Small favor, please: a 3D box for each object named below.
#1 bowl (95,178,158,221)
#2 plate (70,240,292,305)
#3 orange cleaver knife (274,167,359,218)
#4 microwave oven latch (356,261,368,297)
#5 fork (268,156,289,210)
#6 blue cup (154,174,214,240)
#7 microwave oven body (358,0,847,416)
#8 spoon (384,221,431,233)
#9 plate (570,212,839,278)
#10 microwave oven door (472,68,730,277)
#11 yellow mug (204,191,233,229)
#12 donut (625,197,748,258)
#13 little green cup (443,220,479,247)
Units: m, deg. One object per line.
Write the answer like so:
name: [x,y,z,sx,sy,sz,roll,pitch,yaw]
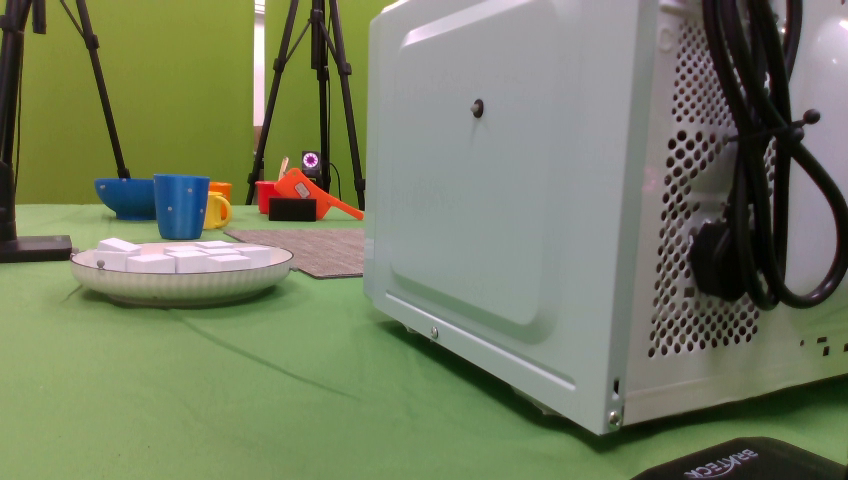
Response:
bowl: [-0.576,-0.081,1.217,0.151,0.077,0.151,3,8,0]
plate: [-0.242,0.031,0.618,0.208,0.039,0.207,2,8,0]
orange cleaver knife: [-0.238,-0.091,1.381,0.212,0.077,0.012,31,0,-19]
microwave oven latch: [-0.019,0.033,0.530,0.079,0.029,0.030,0,7,-26]
fork: [-0.360,-0.144,1.508,0.028,0.018,0.207,1,49,0]
blue cup: [-0.390,-0.053,0.978,0.093,0.100,0.092,3,6,0]
microwave oven body: [0.211,-0.047,0.474,0.444,0.260,0.324,-1,7,-28]
spoon: [-0.024,-0.029,1.188,0.041,0.021,0.194,-12,0,23]
plate: [0.230,0.001,0.519,0.209,0.038,0.209,2,7,0]
microwave oven door: [0.214,-0.096,0.820,0.039,0.243,0.354,-6,11,-44]
yellow mug: [-0.415,-0.057,1.132,0.130,0.064,0.100,6,8,16]
donut: [0.223,-0.010,0.518,0.099,0.048,0.099,8,8,-1]
little green cup: [0.064,-0.011,1.035,0.061,0.038,0.061,-1,10,0]
